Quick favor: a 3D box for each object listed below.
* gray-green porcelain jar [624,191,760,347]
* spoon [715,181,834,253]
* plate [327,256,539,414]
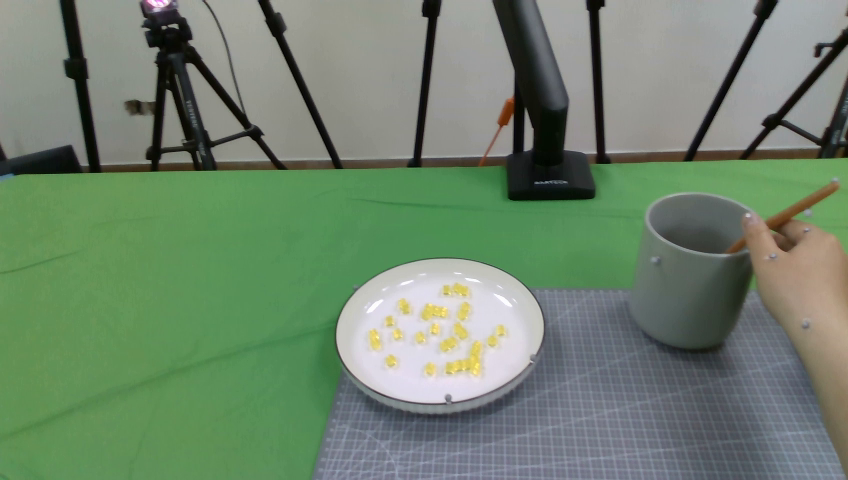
[{"bbox_3d":[0.255,0.032,0.593,0.106,0.127,0.105,-3,36,2],"label":"gray-green porcelain jar"},{"bbox_3d":[0.281,0.007,0.551,0.021,0.194,0.041,46,46,11],"label":"spoon"},{"bbox_3d":[0.009,0.094,0.607,0.207,0.039,0.205,-2,36,2],"label":"plate"}]
